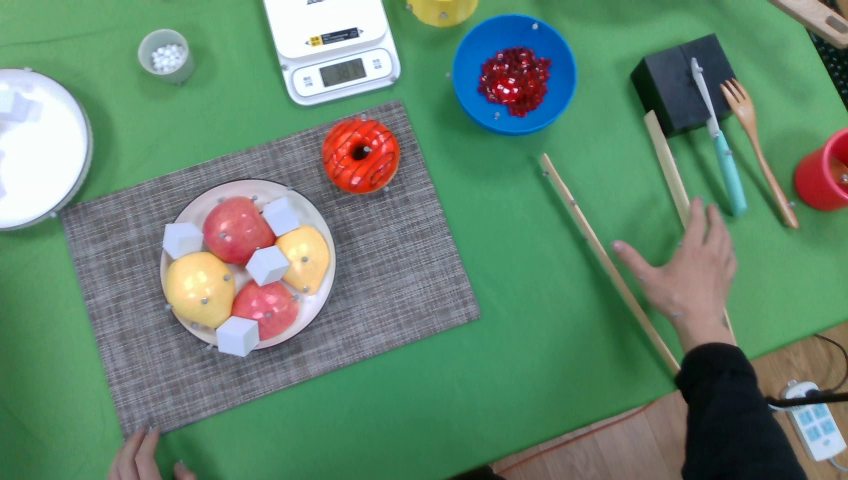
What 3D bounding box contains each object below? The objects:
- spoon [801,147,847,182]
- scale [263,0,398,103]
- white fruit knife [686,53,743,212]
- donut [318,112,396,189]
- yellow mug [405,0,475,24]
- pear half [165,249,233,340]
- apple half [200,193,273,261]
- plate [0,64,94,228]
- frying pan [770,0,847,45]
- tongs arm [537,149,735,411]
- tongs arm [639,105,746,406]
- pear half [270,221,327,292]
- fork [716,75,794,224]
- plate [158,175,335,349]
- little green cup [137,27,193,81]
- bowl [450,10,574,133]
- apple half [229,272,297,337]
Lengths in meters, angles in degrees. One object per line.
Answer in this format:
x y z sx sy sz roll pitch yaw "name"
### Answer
0.531 -0.060 0.716 0.041 0.022 0.191 -25 38 -6 "spoon"
-0.126 -0.288 0.790 0.149 0.031 0.200 -15 82 -3 "scale"
0.360 -0.133 0.755 0.016 0.027 0.208 -22 97 -5 "white fruit knife"
-0.083 -0.111 0.754 0.099 0.048 0.098 0 83 1 "donut"
0.009 -0.352 0.786 0.130 0.064 0.100 37 82 5 "yellow mug"
-0.256 0.064 0.703 0.076 0.056 0.109 -26 87 -13 "pear half"
-0.228 -0.016 0.721 0.074 0.053 0.080 -32 86 -3 "apple half"
-0.511 -0.114 0.749 0.208 0.039 0.207 0 81 -2 "plate"
0.338 -0.400 0.783 0.485 0.103 0.306 42 84 13 "frying pan"
0.258 0.045 0.749 0.051 0.026 0.383 -28 84 -11 "tongs arm"
0.334 0.013 0.761 0.028 0.028 0.386 -14 82 -13 "tongs arm"
-0.155 0.019 0.728 0.070 0.031 0.087 -18 79 9 "pear half"
0.420 -0.112 0.762 0.028 0.018 0.208 -29 99 -7 "fork"
-0.210 0.026 0.732 0.209 0.038 0.208 0 81 -2 "plate"
-0.327 -0.235 0.773 0.061 0.039 0.061 0 81 -1 "little green cup"
0.104 -0.198 0.759 0.151 0.077 0.151 0 82 -2 "bowl"
-0.195 0.076 0.716 0.081 0.033 0.081 0 74 -1 "apple half"
